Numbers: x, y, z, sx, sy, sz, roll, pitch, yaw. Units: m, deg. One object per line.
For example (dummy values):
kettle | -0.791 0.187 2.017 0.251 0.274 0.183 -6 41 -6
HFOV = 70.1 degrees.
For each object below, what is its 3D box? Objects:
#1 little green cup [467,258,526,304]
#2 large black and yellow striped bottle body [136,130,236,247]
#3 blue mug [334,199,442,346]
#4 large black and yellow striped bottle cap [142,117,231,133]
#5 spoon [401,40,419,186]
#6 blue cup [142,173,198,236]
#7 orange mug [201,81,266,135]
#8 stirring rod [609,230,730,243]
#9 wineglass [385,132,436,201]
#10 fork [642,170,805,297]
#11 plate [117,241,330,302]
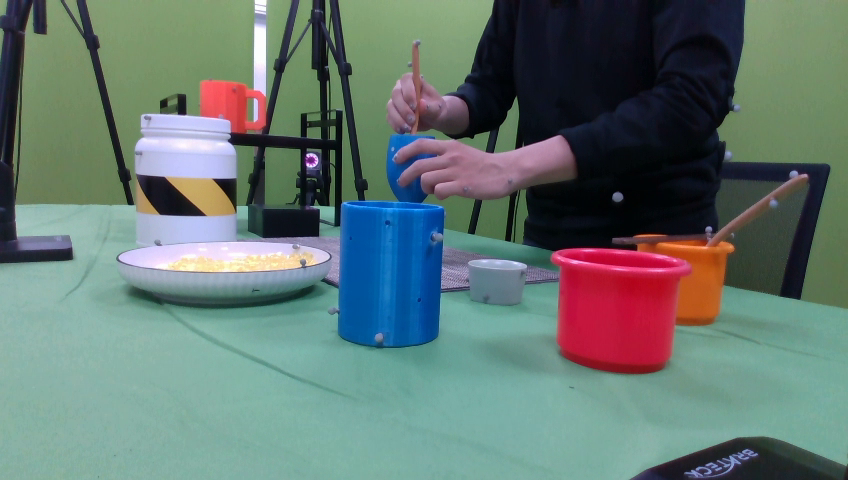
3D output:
little green cup | 0.074 0.042 0.625 0.061 0.038 0.061 3 8 0
large black and yellow striped bottle body | -0.332 -0.076 0.851 0.131 0.184 0.130 3 8 0
blue mug | -0.034 0.020 0.498 0.083 0.106 0.116 0 7 -20
large black and yellow striped bottle cap | -0.328 -0.159 0.839 0.115 0.019 0.115 1 9 0
spoon | -0.016 -0.171 0.821 0.022 0.193 0.041 3 8 -14
blue cup | -0.425 -0.060 1.014 0.093 0.100 0.092 4 9 0
orange mug | -0.377 -0.260 1.198 0.126 0.101 0.083 -3 8 -6
stirring rod | 0.241 -0.004 0.582 0.177 0.006 0.014 -4 9 -33
wineglass | -0.020 -0.061 0.841 0.074 0.172 0.073 2 8 0
fork | 0.261 0.004 0.545 0.028 0.018 0.207 5 -37 -15
plate | -0.203 0.031 0.630 0.209 0.038 0.209 3 7 0
